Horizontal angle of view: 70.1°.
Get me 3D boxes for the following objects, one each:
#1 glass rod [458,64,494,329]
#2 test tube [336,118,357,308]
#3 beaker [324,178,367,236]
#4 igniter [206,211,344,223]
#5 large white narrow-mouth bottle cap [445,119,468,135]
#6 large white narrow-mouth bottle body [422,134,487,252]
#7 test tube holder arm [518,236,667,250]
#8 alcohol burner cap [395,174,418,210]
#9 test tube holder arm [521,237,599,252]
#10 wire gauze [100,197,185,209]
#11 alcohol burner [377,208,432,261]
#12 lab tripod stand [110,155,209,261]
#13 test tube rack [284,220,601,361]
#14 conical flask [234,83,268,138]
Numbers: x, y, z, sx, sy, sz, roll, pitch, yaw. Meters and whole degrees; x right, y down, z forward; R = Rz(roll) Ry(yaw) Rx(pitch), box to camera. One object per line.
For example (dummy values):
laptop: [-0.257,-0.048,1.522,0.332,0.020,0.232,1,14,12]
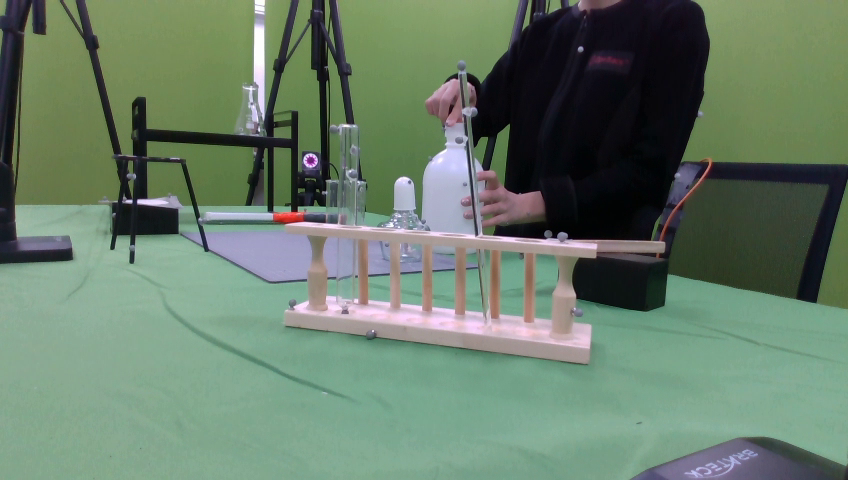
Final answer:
glass rod: [0.039,-0.029,0.449,0.008,0.199,0.008,-7,9,1]
test tube: [-0.061,-0.019,0.476,0.017,0.150,0.017,2,10,0]
beaker: [-0.139,-0.060,1.083,0.074,0.100,0.083,-3,9,-31]
igniter: [-0.302,-0.048,1.249,0.278,0.025,0.057,-2,-2,-27]
large white narrow-mouth bottle cap: [0.051,-0.177,0.949,0.038,0.024,0.037,2,8,0]
large white narrow-mouth bottle body: [0.050,-0.082,0.962,0.102,0.194,0.102,2,8,0]
test tube holder arm: [0.185,0.003,0.654,0.179,0.015,0.013,0,13,-18]
alcohol burner cap: [-0.026,-0.067,0.834,0.034,0.048,0.034,-1,12,1]
test tube holder arm: [0.144,0.004,0.635,0.088,0.015,0.010,0,13,-19]
wire gauze: [-0.469,-0.062,1.008,0.126,0.011,0.121,-2,8,-25]
alcohol burner: [-0.027,-0.031,0.838,0.078,0.119,0.078,0,6,0]
lab tripod stand: [-0.361,-0.046,0.806,0.148,0.131,0.148,2,5,0]
test tube rack: [0.013,0.032,0.482,0.242,0.085,0.067,4,7,16]
conical flask: [-0.400,-0.298,1.396,0.075,0.122,0.075,2,8,0]
